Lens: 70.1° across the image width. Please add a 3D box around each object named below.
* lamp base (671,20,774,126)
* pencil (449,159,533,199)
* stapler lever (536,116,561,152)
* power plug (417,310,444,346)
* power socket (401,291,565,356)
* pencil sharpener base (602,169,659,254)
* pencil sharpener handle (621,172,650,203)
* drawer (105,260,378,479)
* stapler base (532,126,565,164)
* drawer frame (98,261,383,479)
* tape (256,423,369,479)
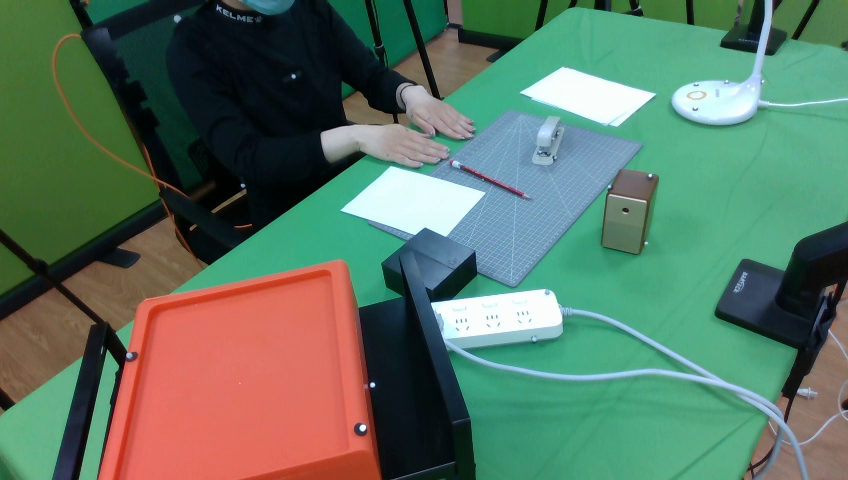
[{"bbox_3d":[0.581,-0.332,1.154,0.179,0.181,0.160,2,41,7],"label":"lamp base"},{"bbox_3d":[0.118,-0.110,1.091,0.192,0.012,0.012,30,53,34],"label":"pencil"},{"bbox_3d":[0.236,-0.209,1.141,0.026,0.040,0.118,10,43,18],"label":"stapler lever"},{"bbox_3d":[0.006,0.122,0.785,0.035,0.053,0.072,-1,40,8],"label":"power plug"},{"bbox_3d":[0.080,0.112,0.822,0.227,0.033,0.072,-6,41,0],"label":"power socket"},{"bbox_3d":[0.311,-0.044,0.914,0.061,0.107,0.077,14,45,24],"label":"pencil sharpener base"},{"bbox_3d":[0.328,-0.087,0.941,0.036,0.068,0.030,30,49,7],"label":"pencil sharpener handle"},{"bbox_3d":[-0.150,0.127,0.525,0.195,0.073,0.210,-11,41,-5],"label":"drawer"},{"bbox_3d":[0.238,-0.189,1.155,0.041,0.024,0.130,10,42,18],"label":"stapler base"},{"bbox_3d":[-0.149,0.129,0.520,0.202,0.083,0.212,-12,41,-6],"label":"drawer frame"},{"bbox_3d":[-0.121,0.263,0.660,0.117,0.053,0.116,-4,40,4],"label":"tape"}]
